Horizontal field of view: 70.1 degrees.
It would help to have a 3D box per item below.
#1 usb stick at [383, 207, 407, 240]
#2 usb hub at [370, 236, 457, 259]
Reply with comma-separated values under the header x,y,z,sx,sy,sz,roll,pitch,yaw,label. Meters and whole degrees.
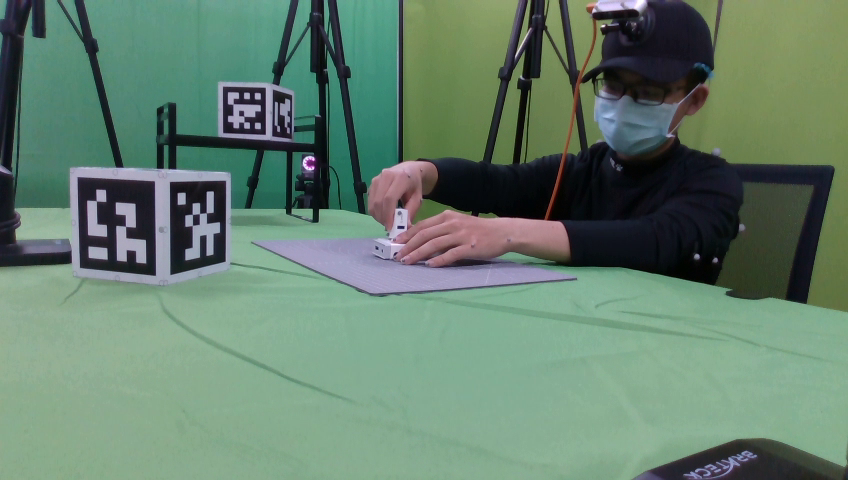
x,y,z,sx,sy,sz,roll,pitch,yaw,label
-0.044,-0.018,0.890,0.021,0.059,0.027,8,7,-35,usb stick
-0.015,0.011,0.909,0.126,0.025,0.049,-2,13,-32,usb hub
